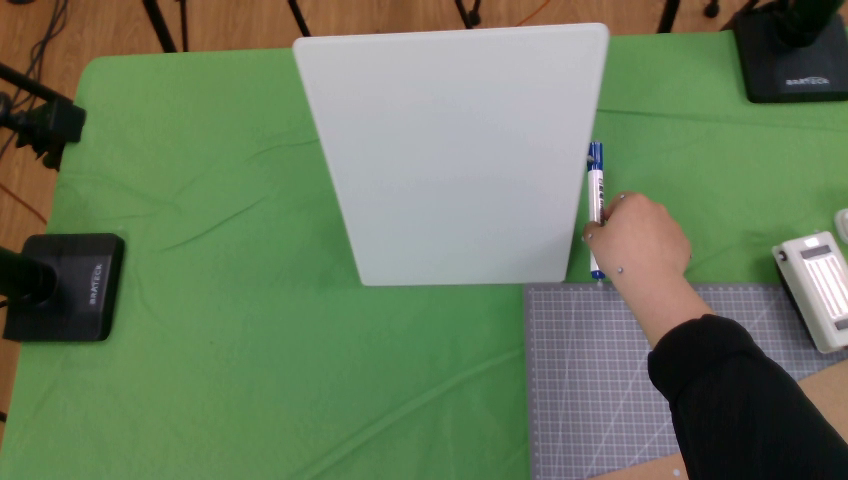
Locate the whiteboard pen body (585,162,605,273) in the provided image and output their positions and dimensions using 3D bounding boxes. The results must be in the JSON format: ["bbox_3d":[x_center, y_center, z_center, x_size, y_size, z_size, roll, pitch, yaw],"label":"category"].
[{"bbox_3d":[0.175,-0.036,0.621,0.017,0.017,0.140,1,75,5],"label":"whiteboard pen body"}]

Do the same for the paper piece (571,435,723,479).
[{"bbox_3d":[0.220,0.263,0.553,0.135,0.004,0.135,-15,72,-1],"label":"paper piece"}]

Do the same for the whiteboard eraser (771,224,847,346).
[{"bbox_3d":[0.391,0.044,0.594,0.055,0.042,0.112,-15,71,1],"label":"whiteboard eraser"}]

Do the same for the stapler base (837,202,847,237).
[{"bbox_3d":[0.499,-0.029,0.623,0.130,0.024,0.041,-6,74,0],"label":"stapler base"}]

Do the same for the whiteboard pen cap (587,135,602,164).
[{"bbox_3d":[0.179,-0.093,0.636,0.018,0.018,0.033,-1,75,4],"label":"whiteboard pen cap"}]

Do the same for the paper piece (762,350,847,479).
[{"bbox_3d":[0.413,0.175,0.568,0.136,0.009,0.137,-23,74,1],"label":"paper piece"}]

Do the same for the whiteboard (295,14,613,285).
[{"bbox_3d":[0.032,-0.102,0.564,0.217,0.308,0.142,0,52,5],"label":"whiteboard"}]
